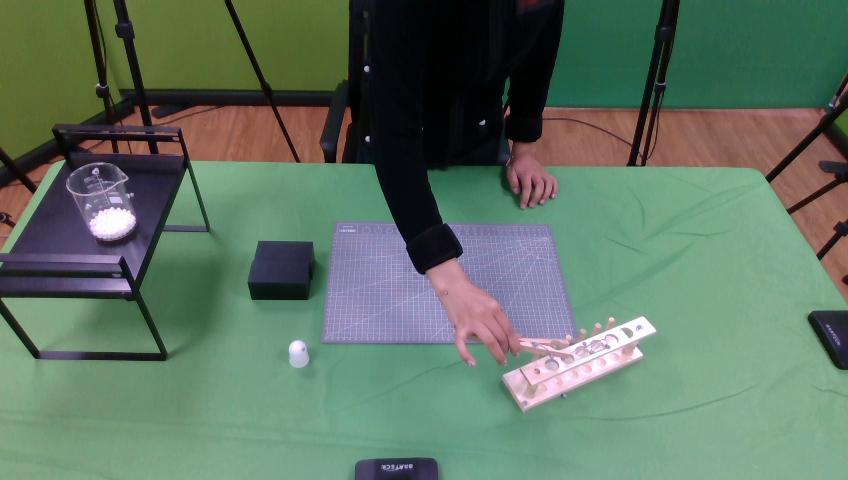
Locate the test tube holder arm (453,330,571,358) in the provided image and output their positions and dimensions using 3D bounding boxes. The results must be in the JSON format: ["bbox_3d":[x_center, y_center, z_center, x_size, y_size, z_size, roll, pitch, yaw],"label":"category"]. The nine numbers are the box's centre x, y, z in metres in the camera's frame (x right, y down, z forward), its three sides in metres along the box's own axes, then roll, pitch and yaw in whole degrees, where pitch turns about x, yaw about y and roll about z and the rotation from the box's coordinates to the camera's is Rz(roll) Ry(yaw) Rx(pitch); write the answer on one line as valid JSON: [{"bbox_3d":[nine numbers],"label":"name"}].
[{"bbox_3d":[0.131,0.154,0.898,0.178,0.015,0.013,9,38,-6],"label":"test tube holder arm"}]

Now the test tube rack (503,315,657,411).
[{"bbox_3d":[0.253,0.186,0.989,0.242,0.085,0.066,-18,50,-20],"label":"test tube rack"}]

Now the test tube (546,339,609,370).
[{"bbox_3d":[0.225,0.180,0.933,0.017,0.150,0.017,16,57,-26],"label":"test tube"}]

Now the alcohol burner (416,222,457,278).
[{"bbox_3d":[0.024,0.014,1.116,0.078,0.120,0.077,1,45,-1],"label":"alcohol burner"}]

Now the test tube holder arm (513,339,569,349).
[{"bbox_3d":[0.174,0.156,0.909,0.088,0.015,0.010,3,40,-14],"label":"test tube holder arm"}]

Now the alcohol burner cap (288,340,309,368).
[{"bbox_3d":[-0.207,0.183,0.991,0.034,0.048,0.033,2,47,-2],"label":"alcohol burner cap"}]

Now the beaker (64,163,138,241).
[{"bbox_3d":[-0.477,-0.055,0.910,0.084,0.101,0.073,-9,48,-13],"label":"beaker"}]
